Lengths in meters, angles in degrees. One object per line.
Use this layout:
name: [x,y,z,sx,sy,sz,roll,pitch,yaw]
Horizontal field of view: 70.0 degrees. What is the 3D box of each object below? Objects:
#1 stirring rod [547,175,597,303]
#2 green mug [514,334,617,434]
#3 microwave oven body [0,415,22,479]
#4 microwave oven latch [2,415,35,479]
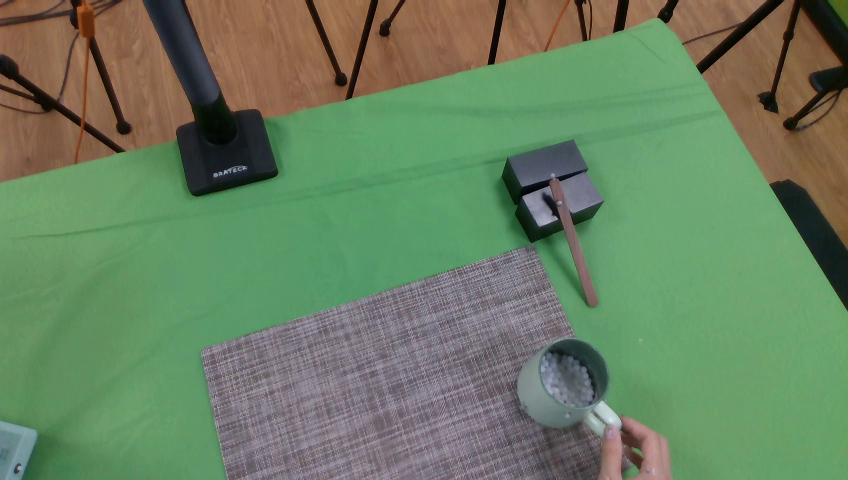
stirring rod: [0.193,-0.001,0.792,0.014,0.006,0.176,-19,93,0]
green mug: [0.168,0.172,0.697,0.092,0.105,0.124,-41,74,-19]
microwave oven body: [-0.619,0.328,0.493,0.326,0.262,0.438,9,67,0]
microwave oven latch: [-0.450,0.233,0.652,0.030,0.030,0.078,11,67,1]
